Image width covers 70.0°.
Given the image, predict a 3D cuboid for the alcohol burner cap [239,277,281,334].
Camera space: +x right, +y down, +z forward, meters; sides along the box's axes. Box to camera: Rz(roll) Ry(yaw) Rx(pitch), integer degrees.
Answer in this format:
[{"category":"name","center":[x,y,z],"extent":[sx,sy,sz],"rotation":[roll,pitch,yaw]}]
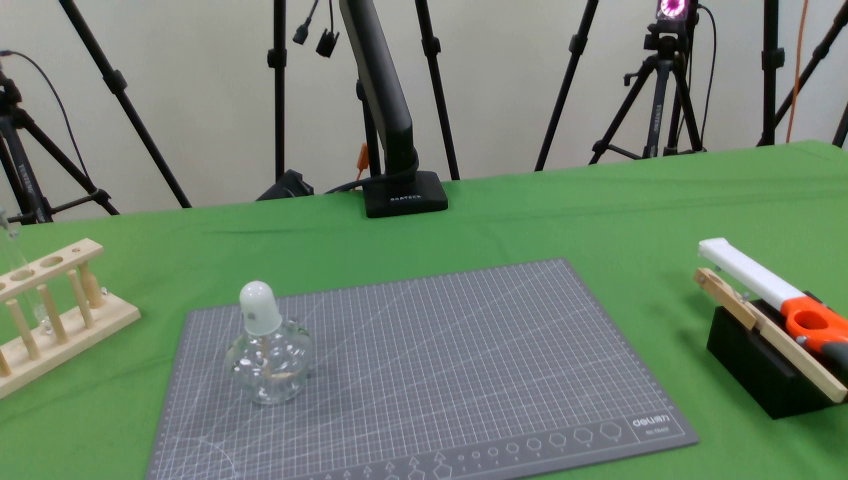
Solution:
[{"category":"alcohol burner cap","center":[-0.146,0.054,0.530],"extent":[0.034,0.048,0.033],"rotation":[-3,35,2]}]

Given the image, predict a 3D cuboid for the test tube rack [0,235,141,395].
[{"category":"test tube rack","center":[-0.416,0.090,0.593],"extent":[0.066,0.086,0.242],"rotation":[18,37,31]}]

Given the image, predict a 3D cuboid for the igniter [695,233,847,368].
[{"category":"igniter","center":[0.340,0.061,0.549],"extent":[0.057,0.025,0.273],"rotation":[-8,28,-9]}]

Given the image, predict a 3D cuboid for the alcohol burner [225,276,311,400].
[{"category":"alcohol burner","center":[-0.143,0.085,0.549],"extent":[0.078,0.120,0.077],"rotation":[-2,29,1]}]

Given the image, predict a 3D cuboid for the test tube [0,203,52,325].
[{"category":"test tube","center":[-0.403,0.026,0.604],"extent":[0.017,0.151,0.017],"rotation":[-1,33,1]}]

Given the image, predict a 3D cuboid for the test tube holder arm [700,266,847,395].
[{"category":"test tube holder arm","center":[0.301,0.073,0.539],"extent":[0.013,0.015,0.176],"rotation":[-8,30,-14]}]

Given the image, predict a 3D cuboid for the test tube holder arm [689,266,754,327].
[{"category":"test tube holder arm","center":[0.283,0.052,0.575],"extent":[0.010,0.015,0.087],"rotation":[-8,30,-13]}]
